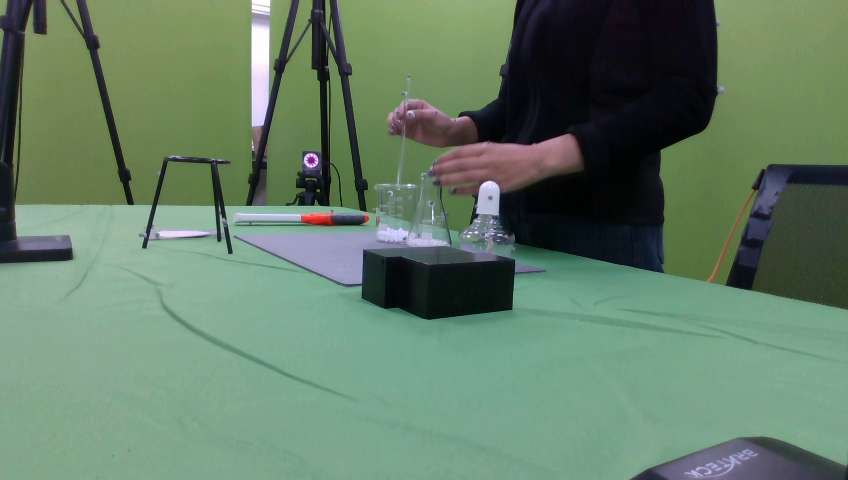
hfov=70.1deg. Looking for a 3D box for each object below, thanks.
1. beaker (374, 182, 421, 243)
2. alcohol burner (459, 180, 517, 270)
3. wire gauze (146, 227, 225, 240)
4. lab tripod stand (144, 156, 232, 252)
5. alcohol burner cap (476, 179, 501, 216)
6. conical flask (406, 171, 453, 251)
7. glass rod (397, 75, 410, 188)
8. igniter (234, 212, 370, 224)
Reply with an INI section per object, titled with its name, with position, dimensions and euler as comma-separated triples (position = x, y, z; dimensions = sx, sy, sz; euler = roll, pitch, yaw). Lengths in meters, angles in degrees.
[beaker]
position = -0.049, -0.048, 1.031
dimensions = 0.083, 0.100, 0.074
euler = 5, 7, 24
[alcohol burner]
position = 0.086, -0.021, 0.805
dimensions = 0.078, 0.119, 0.078
euler = 3, 9, 0
[wire gauze]
position = -0.400, -0.012, 1.019
dimensions = 0.122, 0.011, 0.124
euler = -1, 6, -26
[lab tripod stand]
position = -0.325, -0.054, 0.881
dimensions = 0.148, 0.131, 0.148
euler = 4, 7, 0
[alcohol burner cap]
position = 0.086, -0.057, 0.801
dimensions = 0.034, 0.048, 0.034
euler = 4, 3, 0
[conical flask]
position = 0.011, -0.046, 0.948
dimensions = 0.075, 0.122, 0.075
euler = 2, 8, 0
[glass rod]
position = -0.036, -0.187, 1.031
dimensions = 0.008, 0.199, 0.008
euler = 4, -8, 1
[igniter]
position = -0.247, -0.046, 1.253
dimensions = 0.278, 0.025, 0.057
euler = -1, -3, -27
